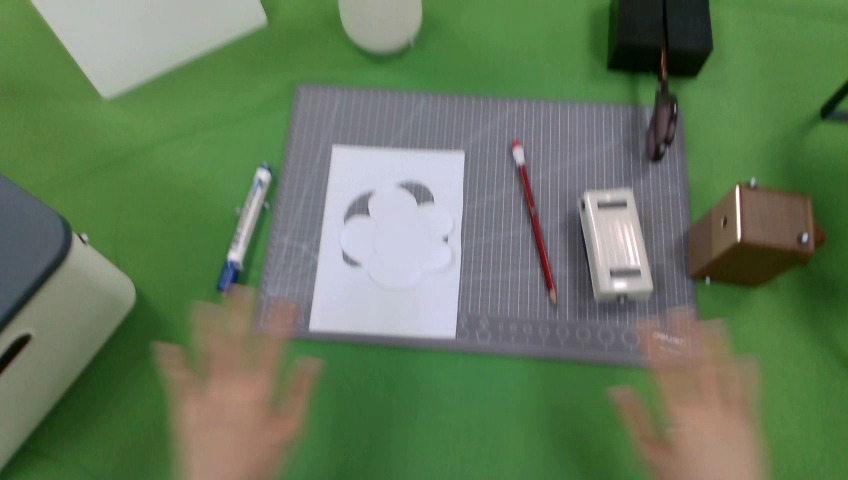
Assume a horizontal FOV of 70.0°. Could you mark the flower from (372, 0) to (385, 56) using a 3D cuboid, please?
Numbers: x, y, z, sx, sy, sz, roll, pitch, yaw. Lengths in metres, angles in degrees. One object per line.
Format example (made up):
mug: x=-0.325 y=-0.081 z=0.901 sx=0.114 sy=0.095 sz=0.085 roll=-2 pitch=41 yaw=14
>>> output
flower: x=-0.064 y=-0.339 z=0.591 sx=0.044 sy=0.365 sz=0.038 roll=-3 pitch=50 yaw=3

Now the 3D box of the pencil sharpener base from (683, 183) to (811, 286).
pencil sharpener base: x=0.312 y=-0.002 z=0.590 sx=0.077 sy=0.107 sz=0.061 roll=8 pitch=68 yaw=1

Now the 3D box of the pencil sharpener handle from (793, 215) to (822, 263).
pencil sharpener handle: x=0.362 y=0.002 z=0.578 sx=0.030 sy=0.068 sz=0.035 roll=8 pitch=62 yaw=1

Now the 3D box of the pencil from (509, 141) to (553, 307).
pencil: x=0.116 y=-0.021 z=0.652 sx=0.012 sy=0.012 sz=0.192 roll=-9 pitch=70 yaw=-2

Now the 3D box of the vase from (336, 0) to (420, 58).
vase: x=-0.056 y=-0.294 z=0.662 sx=0.098 sy=0.201 sz=0.097 roll=-1 pitch=67 yaw=2

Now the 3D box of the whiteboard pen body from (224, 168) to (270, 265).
whiteboard pen body: x=-0.193 y=-0.016 z=0.650 sx=0.017 sy=0.017 sz=0.140 roll=10 pitch=67 yaw=5

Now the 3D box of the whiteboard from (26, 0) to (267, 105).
whiteboard: x=-0.347 y=-0.349 z=0.663 sx=0.217 sy=0.308 sz=0.142 roll=-28 pitch=51 yaw=-10

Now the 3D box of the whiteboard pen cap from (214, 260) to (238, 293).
whiteboard pen cap: x=-0.203 y=0.037 z=0.627 sx=0.018 sy=0.018 sz=0.033 roll=10 pitch=64 yaw=5

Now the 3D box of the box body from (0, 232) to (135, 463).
box body: x=-0.496 y=0.035 z=0.556 sx=0.362 sy=0.161 sz=0.253 roll=30 pitch=72 yaw=12

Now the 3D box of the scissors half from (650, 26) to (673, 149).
scissors half: x=0.259 y=-0.173 z=0.664 sx=0.013 sy=0.040 sz=0.174 roll=10 pitch=59 yaw=0

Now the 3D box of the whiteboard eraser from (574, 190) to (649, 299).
whiteboard eraser: x=0.190 y=0.004 z=0.623 sx=0.055 sy=0.042 sz=0.112 roll=-4 pitch=69 yaw=0

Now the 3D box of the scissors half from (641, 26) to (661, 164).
scissors half: x=0.259 y=-0.166 z=0.683 sx=0.013 sy=0.040 sz=0.174 roll=8 pitch=77 yaw=5

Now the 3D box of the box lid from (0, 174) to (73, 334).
box lid: x=-0.499 y=0.005 z=0.488 sx=0.370 sy=0.015 sz=0.262 roll=30 pitch=71 yaw=12
